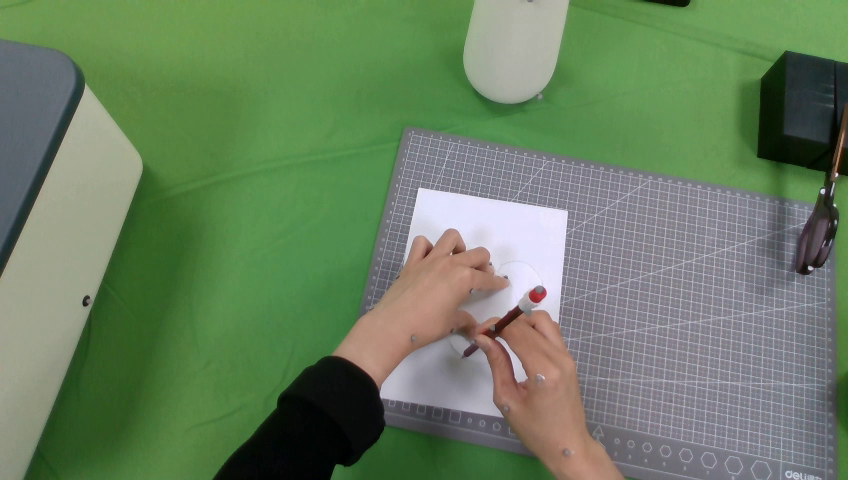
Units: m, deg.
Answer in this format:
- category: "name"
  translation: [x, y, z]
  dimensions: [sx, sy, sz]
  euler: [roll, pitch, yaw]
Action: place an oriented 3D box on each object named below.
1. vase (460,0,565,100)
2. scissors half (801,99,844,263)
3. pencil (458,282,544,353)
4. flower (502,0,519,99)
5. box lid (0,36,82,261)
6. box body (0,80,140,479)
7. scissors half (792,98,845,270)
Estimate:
- category: "vase"
  translation: [0.086, -0.220, 0.571]
  dimensions: [0.098, 0.201, 0.097]
  euler: [0, 70, 0]
- category: "scissors half"
  translation: [0.381, -0.059, 0.569]
  dimensions: [0.013, 0.040, 0.174]
  euler: [17, 72, 14]
- category: "pencil"
  translation: [0.052, 0.067, 0.475]
  dimensions: [0.012, 0.195, 0.012]
  euler: [5, 67, -11]
- category: "flower"
  translation: [0.084, -0.261, 0.497]
  dimensions: [0.044, 0.365, 0.038]
  euler: [5, 53, 4]
- category: "box lid"
  translation: [-0.427, -0.005, 0.427]
  dimensions: [0.263, 0.015, 0.369]
  euler: [12, 71, 2]
- category: "box body"
  translation: [-0.428, 0.022, 0.497]
  dimensions: [0.254, 0.161, 0.362]
  euler: [11, 72, 2]
- category: "scissors half"
  translation: [0.386, -0.055, 0.589]
  dimensions: [0.012, 0.040, 0.175]
  euler: [16, 90, 19]
